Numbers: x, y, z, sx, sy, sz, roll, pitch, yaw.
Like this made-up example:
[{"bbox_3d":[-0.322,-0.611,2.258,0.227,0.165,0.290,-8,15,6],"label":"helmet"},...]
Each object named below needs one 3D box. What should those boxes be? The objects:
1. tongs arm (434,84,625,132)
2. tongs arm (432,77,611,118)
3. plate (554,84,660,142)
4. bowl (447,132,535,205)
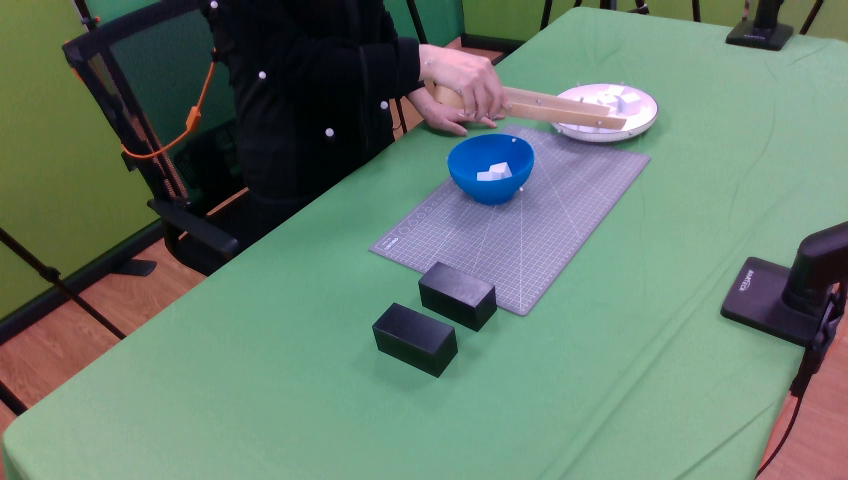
[{"bbox_3d":[0.195,-0.217,1.026,0.390,0.028,0.028,2,44,-28],"label":"tongs arm"},{"bbox_3d":[0.184,-0.237,1.046,0.388,0.026,0.050,4,40,-27],"label":"tongs arm"},{"bbox_3d":[0.355,-0.246,1.195,0.207,0.039,0.206,-5,39,4],"label":"plate"},{"bbox_3d":[0.119,-0.115,1.051,0.151,0.077,0.150,-6,40,5],"label":"bowl"}]
